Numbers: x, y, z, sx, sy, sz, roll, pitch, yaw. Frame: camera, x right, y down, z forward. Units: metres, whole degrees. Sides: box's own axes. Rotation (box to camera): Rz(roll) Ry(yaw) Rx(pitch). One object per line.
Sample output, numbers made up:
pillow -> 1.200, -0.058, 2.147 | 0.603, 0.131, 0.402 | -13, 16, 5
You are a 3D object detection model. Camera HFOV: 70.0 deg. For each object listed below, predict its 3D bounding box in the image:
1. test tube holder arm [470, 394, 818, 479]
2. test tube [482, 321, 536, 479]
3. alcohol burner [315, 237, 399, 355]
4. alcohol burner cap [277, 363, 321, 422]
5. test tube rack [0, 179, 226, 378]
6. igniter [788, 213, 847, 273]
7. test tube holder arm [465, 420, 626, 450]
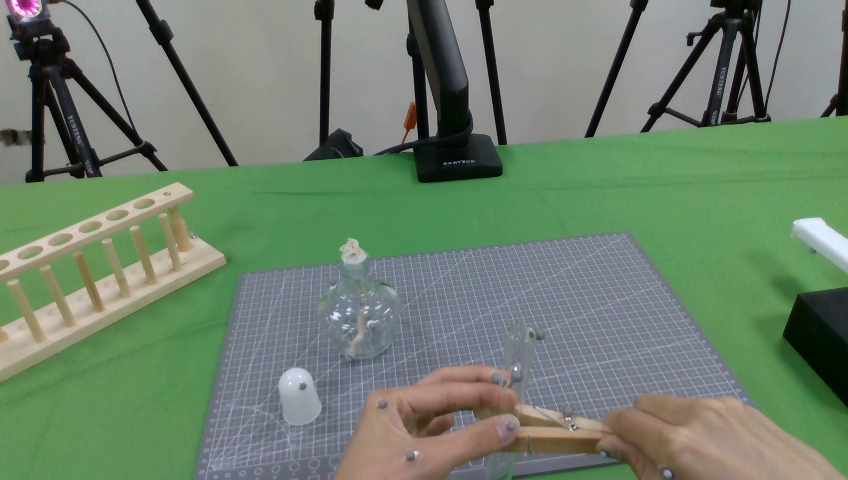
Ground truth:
test tube holder arm -> 0.111, 0.107, 0.330 | 0.177, 0.015, 0.013 | 5, 41, 21
test tube -> 0.045, 0.114, 0.350 | 0.017, 0.151, 0.017 | 4, 24, -2
alcohol burner -> -0.061, 0.046, 0.545 | 0.078, 0.120, 0.077 | -1, 36, 1
alcohol burner cap -> -0.104, 0.122, 0.500 | 0.034, 0.048, 0.033 | -1, 35, 1
test tube rack -> -0.335, 0.029, 0.619 | 0.066, 0.086, 0.242 | 27, 44, 35
igniter -> 0.403, 0.050, 0.503 | 0.057, 0.025, 0.273 | -7, 31, -4
test tube holder arm -> 0.067, 0.109, 0.339 | 0.087, 0.015, 0.010 | -5, 38, 10
